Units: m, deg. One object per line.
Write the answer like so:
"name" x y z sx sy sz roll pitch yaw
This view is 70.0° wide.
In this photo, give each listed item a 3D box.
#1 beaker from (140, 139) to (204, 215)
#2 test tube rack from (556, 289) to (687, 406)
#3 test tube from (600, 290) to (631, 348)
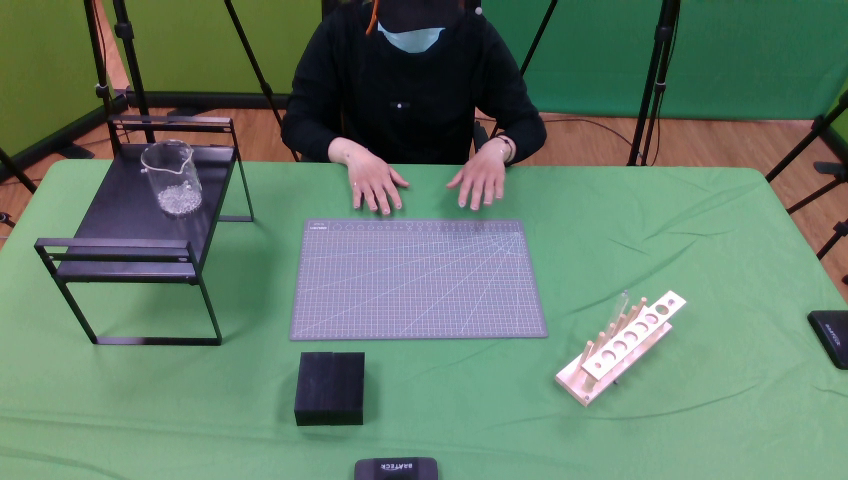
"beaker" -0.391 -0.095 0.954 0.074 0.101 0.083 -30 56 -27
"test tube rack" 0.332 0.165 1.014 0.242 0.085 0.066 -30 55 -28
"test tube" 0.309 0.131 0.982 0.017 0.151 0.017 1 48 -1
